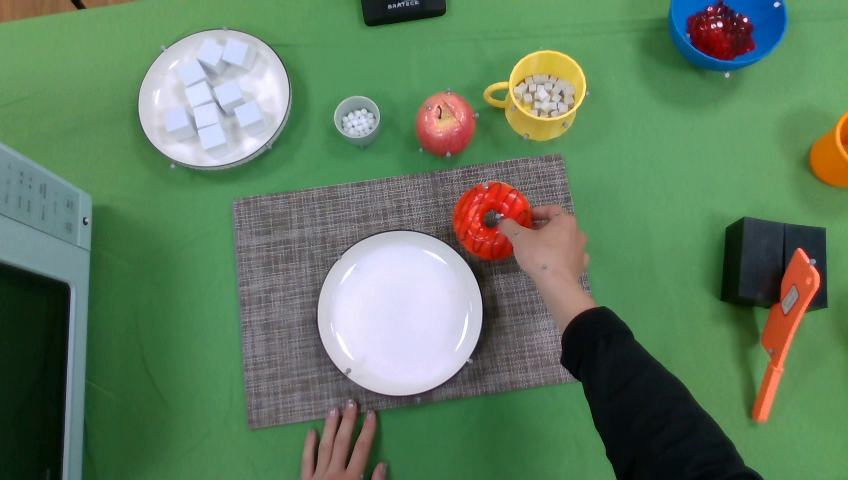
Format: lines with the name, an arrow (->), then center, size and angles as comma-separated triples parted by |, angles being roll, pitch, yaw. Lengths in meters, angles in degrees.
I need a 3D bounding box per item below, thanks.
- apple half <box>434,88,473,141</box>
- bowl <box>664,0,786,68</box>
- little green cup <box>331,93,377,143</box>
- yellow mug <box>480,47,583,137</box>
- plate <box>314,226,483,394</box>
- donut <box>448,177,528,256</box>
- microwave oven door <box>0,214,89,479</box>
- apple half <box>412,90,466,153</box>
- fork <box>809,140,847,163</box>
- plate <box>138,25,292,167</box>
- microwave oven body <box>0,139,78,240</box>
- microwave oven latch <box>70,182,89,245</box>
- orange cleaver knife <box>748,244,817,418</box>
apple half -> 0.045, -0.170, 0.803 | 0.033, 0.081, 0.081 | -35, 78, -2
bowl -> 0.392, -0.291, 0.822 | 0.151, 0.077, 0.150 | 0, 77, 2
little green cup -> -0.092, -0.163, 0.823 | 0.061, 0.039, 0.061 | 0, 76, 2
yellow mug -> 0.141, -0.197, 0.812 | 0.131, 0.064, 0.099 | 2, 77, 3
plate -> -0.031, 0.086, 0.758 | 0.209, 0.038, 0.208 | 0, 77, 2
donut -> 0.079, -0.028, 0.746 | 0.099, 0.048, 0.099 | 0, 93, 10
microwave oven door -> -0.437, 0.154, 0.632 | 0.039, 0.245, 0.354 | -6, 76, 0
apple half -> 0.013, -0.148, 0.800 | 0.053, 0.075, 0.080 | -35, 82, -2
fork -> 0.591, -0.127, 0.741 | 0.206, 0.019, 0.028 | -13, 68, 44
plate -> -0.283, -0.194, 0.835 | 0.207, 0.039, 0.206 | 0, 76, 1
microwave oven body -> -0.587, 0.128, 0.647 | 0.326, 0.261, 0.439 | -5, 77, 0
microwave oven latch -> -0.452, -0.033, 0.781 | 0.030, 0.029, 0.079 | -3, 77, 0
orange cleaver knife -> 0.418, 0.109, 0.721 | 0.012, 0.077, 0.212 | 11, 109, 6
